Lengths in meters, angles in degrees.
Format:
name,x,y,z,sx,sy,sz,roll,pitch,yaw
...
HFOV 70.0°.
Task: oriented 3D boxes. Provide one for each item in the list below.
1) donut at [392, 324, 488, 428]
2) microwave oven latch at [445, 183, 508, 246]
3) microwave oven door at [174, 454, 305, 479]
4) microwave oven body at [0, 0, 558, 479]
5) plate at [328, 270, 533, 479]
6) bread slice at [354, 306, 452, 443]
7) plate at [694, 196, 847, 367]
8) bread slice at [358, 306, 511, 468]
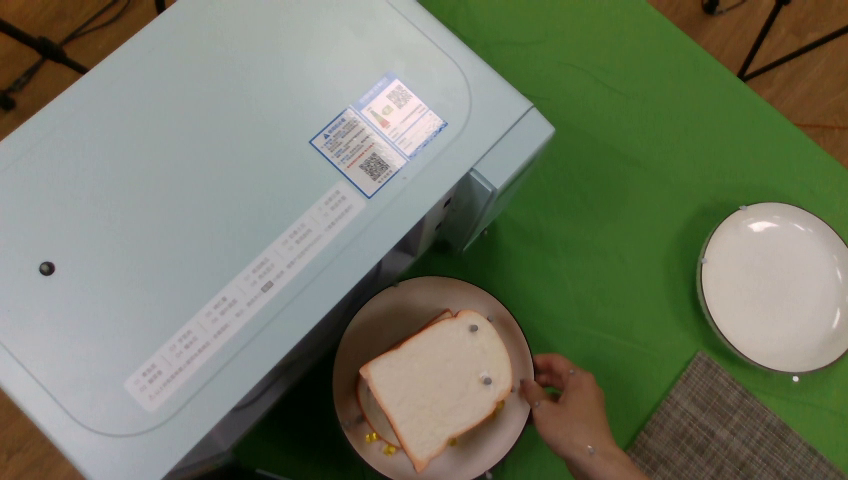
name,x,y,z,sx,sy,sz,roll,pitch,yaw
donut,0.016,0.132,0.589,0.099,0.048,0.098,4,76,-18
microwave oven latch,0.061,-0.030,0.703,0.079,0.029,0.030,-42,84,-12
microwave oven door,-0.040,0.267,0.522,0.356,0.244,0.039,18,75,-1
microwave oven body,-0.161,-0.030,0.584,0.325,0.261,0.441,43,78,5
plate,0.007,0.135,0.617,0.210,0.038,0.208,2,79,-9
bread slice,-0.002,0.144,0.614,0.131,0.019,0.104,-30,85,-13
plate,0.425,0.051,0.738,0.208,0.039,0.206,1,77,-5
bread slice,0.016,0.123,0.560,0.134,0.018,0.107,-34,96,-22
